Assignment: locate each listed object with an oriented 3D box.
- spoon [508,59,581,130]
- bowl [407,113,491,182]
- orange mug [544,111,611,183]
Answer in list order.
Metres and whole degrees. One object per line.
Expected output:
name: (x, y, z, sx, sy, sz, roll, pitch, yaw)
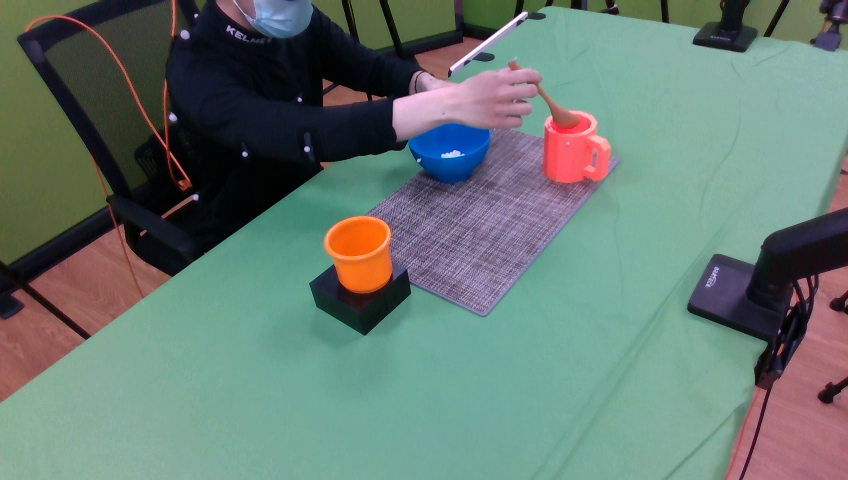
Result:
spoon: (0.191, -0.230, 0.966, 0.041, 0.195, 0.021, 0, 62, 47)
bowl: (0.048, -0.158, 1.097, 0.151, 0.077, 0.150, -4, 41, 4)
orange mug: (0.266, -0.157, 1.049, 0.084, 0.101, 0.125, -33, 42, -27)
